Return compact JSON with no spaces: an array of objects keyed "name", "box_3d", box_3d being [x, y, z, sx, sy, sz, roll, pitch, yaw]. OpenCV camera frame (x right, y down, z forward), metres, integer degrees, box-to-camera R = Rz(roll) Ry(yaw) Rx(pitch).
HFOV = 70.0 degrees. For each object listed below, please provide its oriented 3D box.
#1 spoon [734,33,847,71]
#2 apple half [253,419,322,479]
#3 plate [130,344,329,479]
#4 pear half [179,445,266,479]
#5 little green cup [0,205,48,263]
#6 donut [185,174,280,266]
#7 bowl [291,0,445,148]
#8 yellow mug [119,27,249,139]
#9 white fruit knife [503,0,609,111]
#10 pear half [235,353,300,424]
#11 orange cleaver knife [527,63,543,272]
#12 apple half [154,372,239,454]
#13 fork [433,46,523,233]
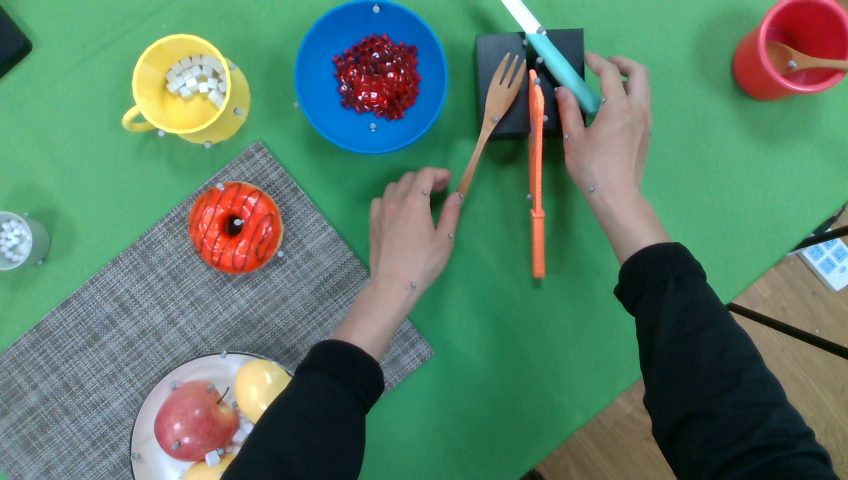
[{"name":"spoon","box_3d":[0.402,-0.176,0.589,0.192,0.022,0.041,26,91,44]},{"name":"apple half","box_3d":[-0.151,0.228,0.630,0.081,0.033,0.081,4,107,15]},{"name":"plate","box_3d":[-0.203,0.212,0.647,0.209,0.038,0.209,0,91,0]},{"name":"pear half","box_3d":[-0.201,0.262,0.633,0.110,0.056,0.076,11,95,-3]},{"name":"little green cup","box_3d":[-0.438,-0.005,0.647,0.061,0.038,0.061,0,91,1]},{"name":"donut","box_3d":[-0.202,-0.021,0.639,0.099,0.048,0.099,0,93,2]},{"name":"bowl","box_3d":[-0.054,-0.165,0.624,0.151,0.077,0.151,0,91,0]},{"name":"yellow mug","box_3d":[-0.256,-0.153,0.630,0.131,0.064,0.100,-29,91,2]},{"name":"white fruit knife","box_3d":[0.112,-0.209,0.605,0.027,0.016,0.207,-38,89,-28]},{"name":"pear half","box_3d":[-0.168,0.163,0.632,0.070,0.031,0.088,-13,95,20]},{"name":"orange cleaver knife","box_3d":[0.113,-0.070,0.622,0.012,0.076,0.213,-4,116,4]},{"name":"apple half","box_3d":[-0.242,0.184,0.629,0.074,0.053,0.081,-34,94,1]},{"name":"fork","box_3d":[0.050,-0.096,0.618,0.028,0.018,0.208,12,113,-23]}]
